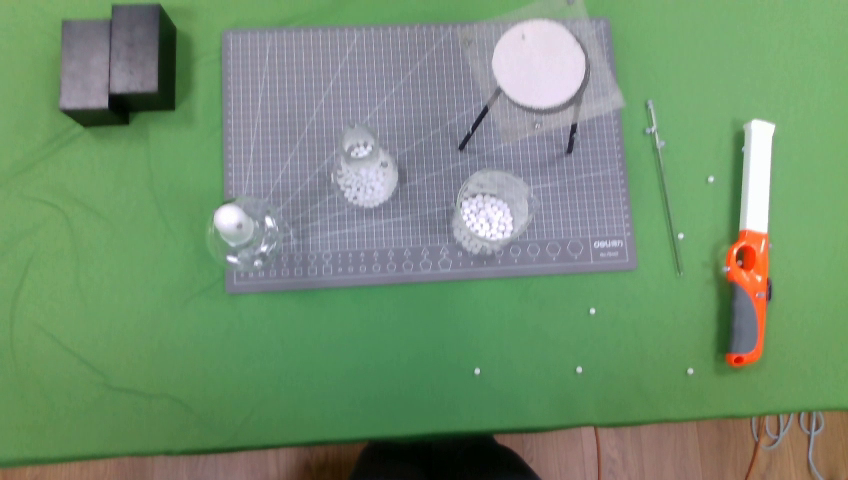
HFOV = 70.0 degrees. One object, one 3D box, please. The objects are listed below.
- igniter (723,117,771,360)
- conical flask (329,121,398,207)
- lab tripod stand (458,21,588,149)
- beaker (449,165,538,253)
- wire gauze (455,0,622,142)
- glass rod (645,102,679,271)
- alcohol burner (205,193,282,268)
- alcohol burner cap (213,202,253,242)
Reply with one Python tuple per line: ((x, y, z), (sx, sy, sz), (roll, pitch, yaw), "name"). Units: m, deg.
((0.362, -0.003, 0.676), (0.057, 0.025, 0.275), (11, 81, -11), "igniter")
((-0.064, -0.081, 0.616), (0.075, 0.122, 0.075), (0, 80, -2), "conical flask")
((0.105, -0.150, 0.630), (0.148, 0.132, 0.148), (0, 82, -2), "lab tripod stand")
((0.066, -0.028, 0.626), (0.084, 0.100, 0.073), (-5, 81, -4), "beaker")
((0.107, -0.163, 0.564), (0.125, 0.011, 0.121), (-20, 84, -5), "wire gauze")
((0.270, -0.062, 0.690), (0.008, 0.008, 0.199), (-6, 81, -4), "glass rod")
((-0.183, -0.012, 0.603), (0.078, 0.119, 0.077), (1, 82, -4), "alcohol burner")
((-0.180, -0.019, 0.567), (0.034, 0.048, 0.033), (2, 78, -7), "alcohol burner cap")
